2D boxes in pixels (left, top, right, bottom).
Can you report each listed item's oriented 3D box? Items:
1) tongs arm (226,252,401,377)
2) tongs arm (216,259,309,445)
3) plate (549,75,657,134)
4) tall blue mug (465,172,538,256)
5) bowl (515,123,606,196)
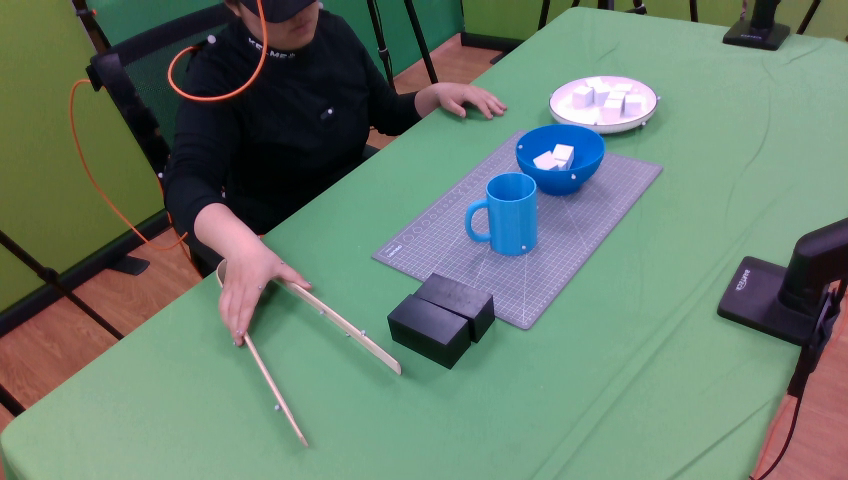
[{"bbox_3d":[-0.176,0.102,0.884,0.051,0.027,0.381,-38,47,-24],"label":"tongs arm"},{"bbox_3d":[-0.236,0.141,0.854,0.028,0.028,0.384,-32,44,-13],"label":"tongs arm"},{"bbox_3d":[0.357,-0.269,1.220,0.209,0.038,0.208,-5,41,5],"label":"plate"},{"bbox_3d":[0.125,-0.033,0.925,0.107,0.108,0.077,-32,46,-25],"label":"tall blue mug"},{"bbox_3d":[0.234,-0.130,1.044,0.151,0.077,0.150,-5,40,5],"label":"bowl"}]
